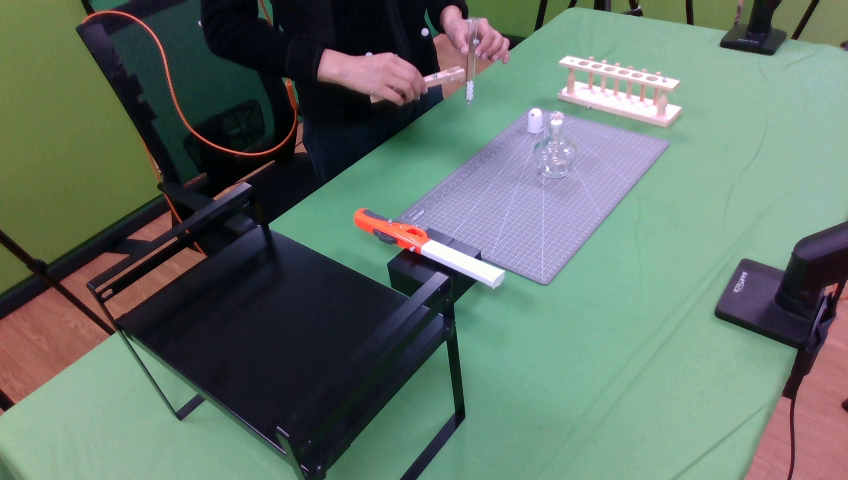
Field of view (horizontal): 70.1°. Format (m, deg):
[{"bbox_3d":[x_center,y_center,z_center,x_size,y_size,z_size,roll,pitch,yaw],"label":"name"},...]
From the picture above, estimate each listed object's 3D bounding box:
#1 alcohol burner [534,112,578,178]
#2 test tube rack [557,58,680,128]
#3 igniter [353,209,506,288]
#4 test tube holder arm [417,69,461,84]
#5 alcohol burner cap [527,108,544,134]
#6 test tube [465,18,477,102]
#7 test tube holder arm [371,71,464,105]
[{"bbox_3d":[0.232,-0.170,1.065,0.078,0.119,0.077,-5,39,5],"label":"alcohol burner"},{"bbox_3d":[0.395,-0.309,1.230,0.240,0.085,0.067,25,50,33],"label":"test tube rack"},{"bbox_3d":[-0.003,0.006,0.892,0.274,0.025,0.057,24,37,31],"label":"igniter"},{"bbox_3d":[0.027,-0.286,1.079,0.088,0.015,0.010,-24,37,-22],"label":"test tube holder arm"},{"bbox_3d":[0.222,-0.238,1.203,0.034,0.048,0.033,-5,40,5],"label":"alcohol burner cap"},{"bbox_3d":[0.084,-0.321,1.090,0.017,0.150,0.017,0,35,0],"label":"test tube"},{"bbox_3d":[-0.010,-0.267,1.059,0.179,0.015,0.013,-22,36,-19],"label":"test tube holder arm"}]
